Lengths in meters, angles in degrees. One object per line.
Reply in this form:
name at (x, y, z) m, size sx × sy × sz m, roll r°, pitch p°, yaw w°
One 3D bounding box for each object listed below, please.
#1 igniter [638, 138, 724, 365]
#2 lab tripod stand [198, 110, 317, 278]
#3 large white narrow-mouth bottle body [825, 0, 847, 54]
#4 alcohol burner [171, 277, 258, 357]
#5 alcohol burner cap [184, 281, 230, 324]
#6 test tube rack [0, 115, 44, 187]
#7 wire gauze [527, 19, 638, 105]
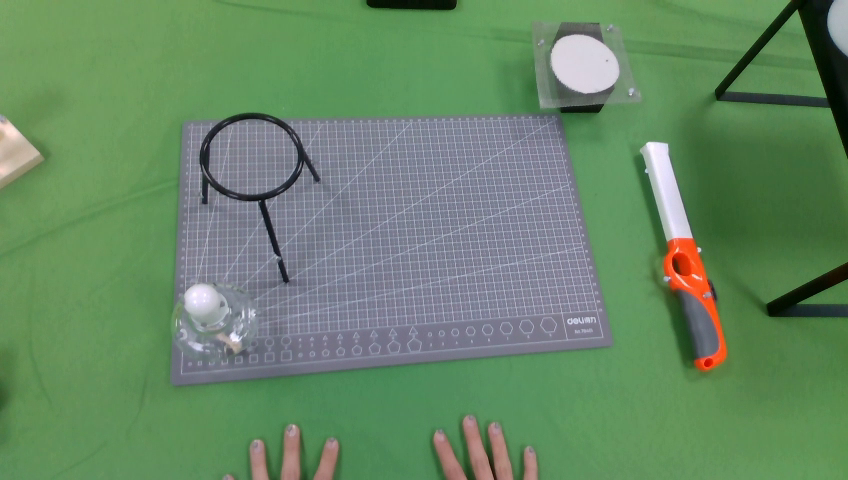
igniter at (0.292, 0.006, 0.694) m, size 0.057 × 0.025 × 0.274 m, roll 1°, pitch 67°, yaw -18°
lab tripod stand at (-0.159, -0.050, 0.597) m, size 0.149 × 0.132 × 0.147 m, roll 4°, pitch 67°, yaw -8°
large white narrow-mouth bottle body at (0.467, -0.255, 0.540) m, size 0.102 × 0.195 × 0.101 m, roll 3°, pitch 66°, yaw -6°
alcohol burner at (-0.193, 0.065, 0.554) m, size 0.078 × 0.120 × 0.077 m, roll 4°, pitch 65°, yaw -8°
alcohol burner cap at (-0.189, 0.052, 0.521) m, size 0.034 × 0.048 × 0.033 m, roll 2°, pitch 72°, yaw -6°
test tube rack at (-0.511, -0.050, 0.578) m, size 0.066 × 0.085 × 0.242 m, roll 42°, pitch 68°, yaw 11°
wire gauze at (0.189, -0.217, 0.732) m, size 0.122 × 0.011 × 0.124 m, roll -2°, pitch 68°, yaw -8°
